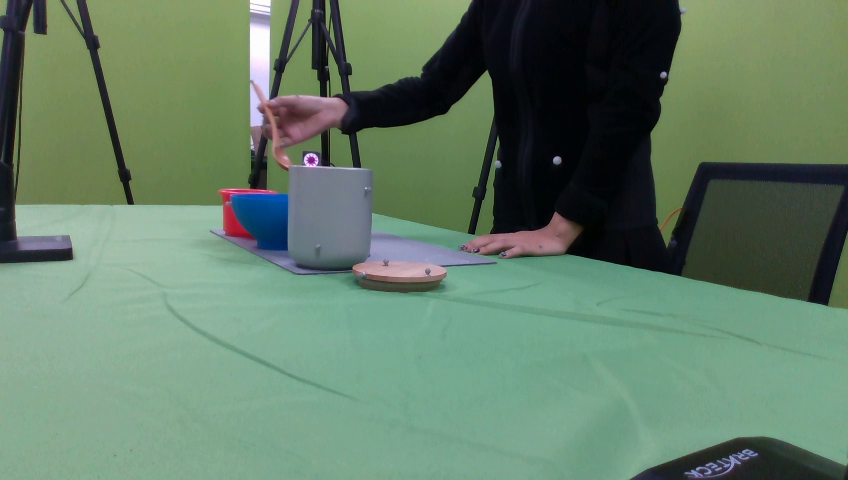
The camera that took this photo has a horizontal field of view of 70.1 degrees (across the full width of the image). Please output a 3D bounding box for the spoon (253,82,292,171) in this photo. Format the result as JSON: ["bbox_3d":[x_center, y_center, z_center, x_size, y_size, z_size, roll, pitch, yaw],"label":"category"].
[{"bbox_3d":[-0.263,-0.198,1.047,0.021,0.193,0.042,-29,-21,23],"label":"spoon"}]

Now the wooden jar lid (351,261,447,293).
[{"bbox_3d":[-0.028,0.042,0.686,0.108,0.020,0.108,3,8,0],"label":"wooden jar lid"}]

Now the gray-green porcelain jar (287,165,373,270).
[{"bbox_3d":[-0.119,-0.029,0.767,0.106,0.126,0.106,2,7,0],"label":"gray-green porcelain jar"}]

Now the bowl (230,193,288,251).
[{"bbox_3d":[-0.214,-0.028,0.912,0.151,0.077,0.151,2,8,0],"label":"bowl"}]
